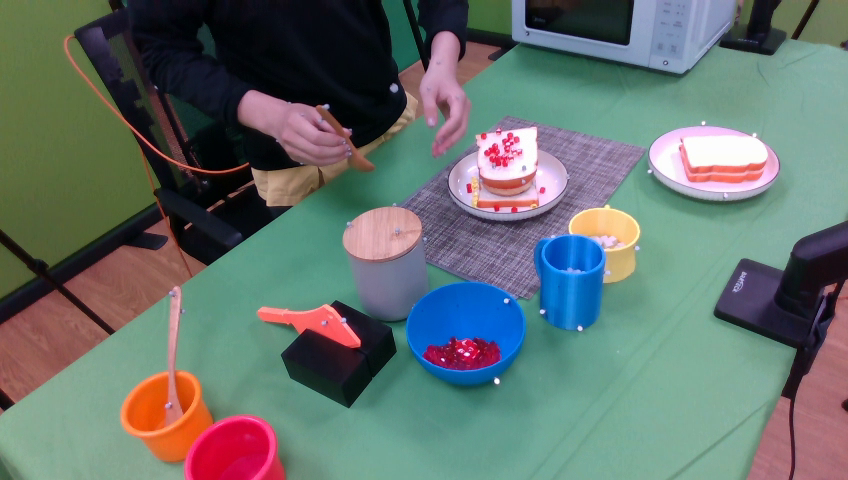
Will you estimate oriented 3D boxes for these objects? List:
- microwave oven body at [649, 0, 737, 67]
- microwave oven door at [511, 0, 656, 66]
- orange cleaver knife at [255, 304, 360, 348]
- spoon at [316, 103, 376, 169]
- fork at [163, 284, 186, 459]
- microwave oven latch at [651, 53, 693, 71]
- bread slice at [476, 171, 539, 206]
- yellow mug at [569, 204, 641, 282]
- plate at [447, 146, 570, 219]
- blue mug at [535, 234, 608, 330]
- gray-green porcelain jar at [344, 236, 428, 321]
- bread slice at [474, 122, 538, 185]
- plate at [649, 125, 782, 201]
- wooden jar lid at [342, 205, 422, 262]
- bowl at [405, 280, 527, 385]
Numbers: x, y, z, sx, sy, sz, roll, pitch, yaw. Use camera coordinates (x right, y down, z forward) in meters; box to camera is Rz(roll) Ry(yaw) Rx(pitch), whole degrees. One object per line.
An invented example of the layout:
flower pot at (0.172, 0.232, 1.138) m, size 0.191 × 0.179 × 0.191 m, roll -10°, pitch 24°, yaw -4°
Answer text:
microwave oven body at (0.475, -0.602, 1.411) m, size 0.438 × 0.261 × 0.327 m, roll 23°, pitch 50°, yaw 32°
microwave oven door at (0.351, -0.539, 1.348) m, size 0.353 × 0.245 × 0.039 m, roll 24°, pitch 50°, yaw 31°
orange cleaver knife at (-0.161, 0.115, 0.813) m, size 0.210 × 0.077 × 0.012 m, roll -4°, pitch 33°, yaw 46°
spoon at (-0.109, -0.140, 0.833) m, size 0.041 × 0.195 × 0.021 m, roll 8°, pitch 72°, yaw 16°
fork at (-0.302, 0.157, 0.733) m, size 0.028 × 0.019 × 0.207 m, roll -3°, pitch 84°, yaw 15°
microwave oven latch at (0.532, -0.386, 1.301) m, size 0.078 × 0.029 × 0.030 m, roll 27°, pitch 52°, yaw 34°
bread slice at (0.143, -0.105, 1.057) m, size 0.105 × 0.019 × 0.131 m, roll 0°, pitch 41°, yaw 6°
yellow mug at (0.268, -0.005, 0.904) m, size 0.099 × 0.064 × 0.130 m, roll 7°, pitch 41°, yaw 15°
plate at (0.145, -0.098, 1.046) m, size 0.209 × 0.038 × 0.208 m, roll -4°, pitch 40°, yaw 4°
blue mug at (0.191, 0.048, 0.824) m, size 0.082 × 0.106 × 0.115 m, roll -26°, pitch 44°, yaw -21°
gray-green porcelain jar at (-0.049, 0.042, 0.849) m, size 0.106 × 0.127 × 0.105 m, roll -4°, pitch 41°, yaw 4°
bread slice at (0.141, -0.144, 1.008) m, size 0.107 × 0.018 × 0.133 m, roll -8°, pitch 48°, yaw 9°
plate at (0.493, -0.128, 1.036) m, size 0.207 × 0.039 × 0.206 m, roll -4°, pitch 41°, yaw 4°
wooden jar lid at (-0.055, -0.006, 0.808) m, size 0.108 × 0.021 × 0.108 m, roll -6°, pitch 40°, yaw 6°
bowl at (0.055, 0.131, 0.767) m, size 0.151 × 0.077 × 0.150 m, roll -4°, pitch 40°, yaw 4°
